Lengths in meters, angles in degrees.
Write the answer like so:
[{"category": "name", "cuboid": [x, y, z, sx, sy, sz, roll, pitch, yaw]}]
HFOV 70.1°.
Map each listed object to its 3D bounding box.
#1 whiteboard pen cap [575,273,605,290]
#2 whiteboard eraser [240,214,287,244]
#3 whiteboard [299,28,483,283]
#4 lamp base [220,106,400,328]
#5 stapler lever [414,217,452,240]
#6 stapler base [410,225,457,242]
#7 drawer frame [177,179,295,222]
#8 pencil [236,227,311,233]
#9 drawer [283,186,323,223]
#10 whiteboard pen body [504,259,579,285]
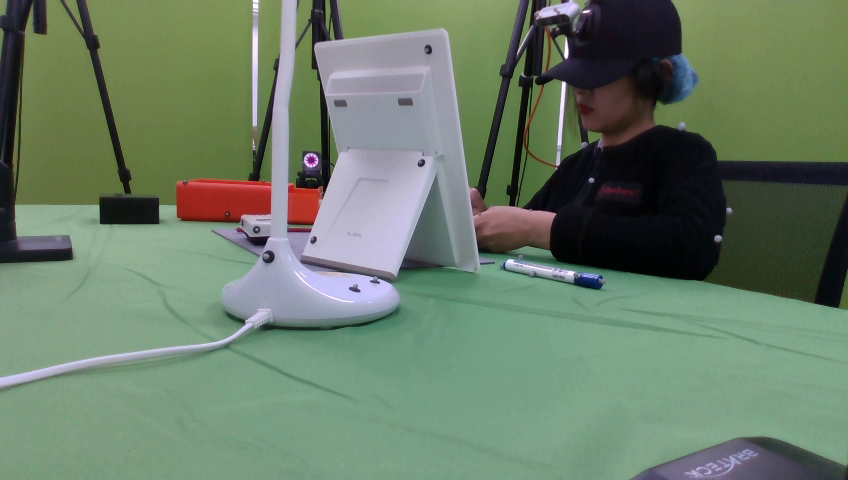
[{"category": "whiteboard pen cap", "cuboid": [0.197, 0.048, 0.719, 0.018, 0.018, 0.033, -4, 11, -41]}, {"category": "whiteboard eraser", "cuboid": [-0.256, -0.018, 0.958, 0.056, 0.042, 0.112, 0, 8, -25]}, {"category": "whiteboard", "cuboid": [-0.075, -0.082, 0.741, 0.216, 0.305, 0.144, 9, 29, 38]}, {"category": "lamp base", "cuboid": [-0.101, -0.023, 0.531, 0.160, 0.180, 0.179, 4, 10, 10]}, {"category": "stapler lever", "cuboid": [0.017, -0.031, 1.128, 0.027, 0.040, 0.117, 2, 14, -26]}, {"category": "stapler base", "cuboid": [0.017, -0.014, 1.130, 0.041, 0.024, 0.130, 2, 5, -26]}, {"category": "drawer frame", "cuboid": [-0.397, -0.088, 1.315, 0.214, 0.082, 0.201, 1, 8, -7]}, {"category": "pencil", "cuboid": [-0.239, -0.017, 1.093, 0.195, 0.012, 0.012, 1, 7, -27]}, {"category": "drawer", "cuboid": [-0.329, -0.084, 1.326, 0.212, 0.073, 0.194, 1, 8, -7]}, {"category": "whiteboard pen body", "cuboid": [0.157, 0.042, 0.764, 0.017, 0.017, 0.140, -4, 10, -41]}]
